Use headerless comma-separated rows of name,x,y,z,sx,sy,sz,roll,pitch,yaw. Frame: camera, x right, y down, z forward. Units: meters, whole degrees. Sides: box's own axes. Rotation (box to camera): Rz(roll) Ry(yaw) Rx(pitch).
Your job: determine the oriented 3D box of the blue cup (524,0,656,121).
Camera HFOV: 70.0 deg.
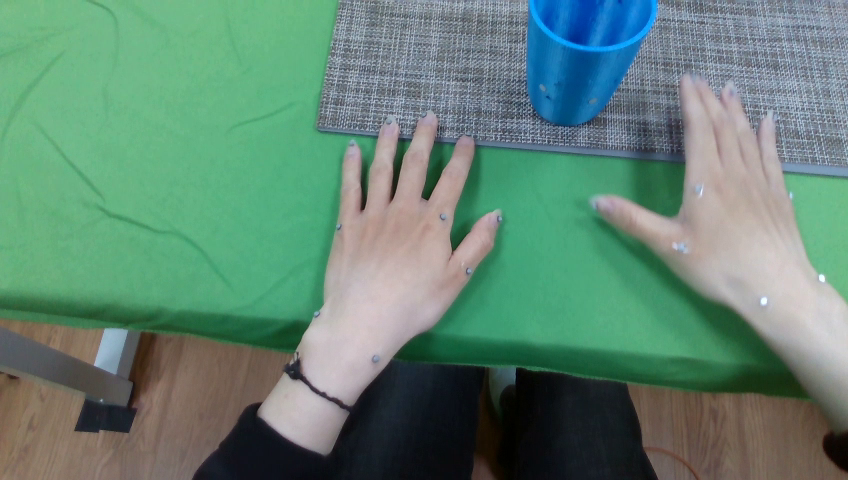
blue cup,0.111,-0.141,0.445,0.092,0.101,0.092,-1,66,2
